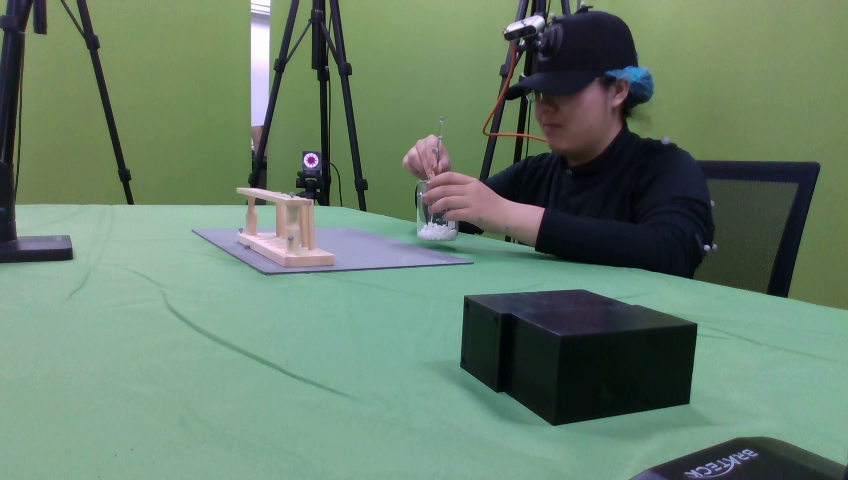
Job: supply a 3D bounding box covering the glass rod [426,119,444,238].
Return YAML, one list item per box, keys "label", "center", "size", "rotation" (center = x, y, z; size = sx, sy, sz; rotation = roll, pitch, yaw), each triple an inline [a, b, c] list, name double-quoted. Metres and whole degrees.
- label: "glass rod"
  center: [0.018, -0.102, 1.012]
  size: [0.008, 0.199, 0.008]
  rotation: [7, 8, -1]

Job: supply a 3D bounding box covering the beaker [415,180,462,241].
- label: "beaker"
  center: [0.026, -0.048, 1.001]
  size: [0.083, 0.100, 0.074]
  rotation: [3, 4, 37]

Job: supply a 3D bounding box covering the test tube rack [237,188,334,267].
- label: "test tube rack"
  center: [-0.202, -0.024, 0.855]
  size: [0.067, 0.085, 0.241]
  rotation: [-2, 8, -30]
